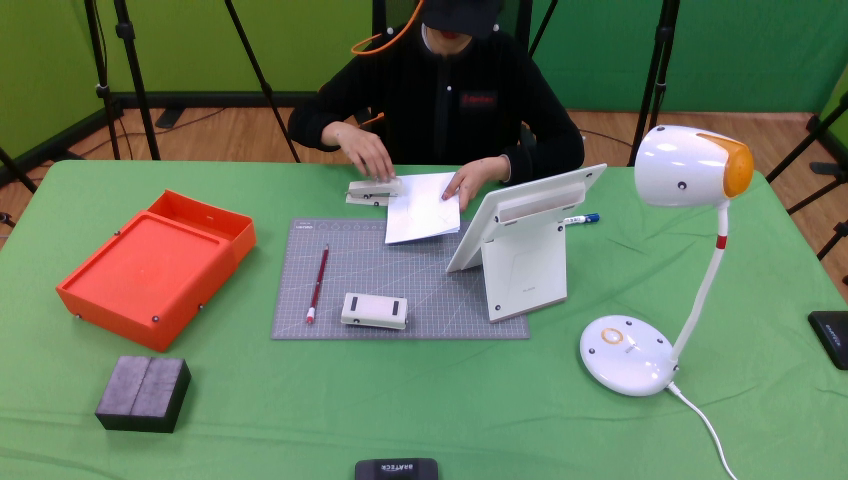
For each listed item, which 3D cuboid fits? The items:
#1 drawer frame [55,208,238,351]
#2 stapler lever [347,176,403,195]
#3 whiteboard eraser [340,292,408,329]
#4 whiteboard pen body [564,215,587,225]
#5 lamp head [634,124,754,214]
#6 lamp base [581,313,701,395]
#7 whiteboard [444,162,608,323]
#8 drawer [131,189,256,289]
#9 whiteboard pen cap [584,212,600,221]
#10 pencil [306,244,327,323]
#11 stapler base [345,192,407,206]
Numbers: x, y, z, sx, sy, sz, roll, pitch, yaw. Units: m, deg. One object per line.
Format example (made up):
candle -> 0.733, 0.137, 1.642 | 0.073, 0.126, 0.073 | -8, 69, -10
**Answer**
drawer frame -> -0.474, 0.062, 1.059 | 0.201, 0.083, 0.213 | 19, 48, 13
stapler lever -> -0.102, -0.113, 1.263 | 0.118, 0.040, 0.026 | 2, 43, 1
whiteboard eraser -> -0.087, 0.125, 1.052 | 0.113, 0.042, 0.055 | 5, 45, 1
whiteboard pen body -> 0.291, -0.040, 1.261 | 0.141, 0.017, 0.017 | -6, 47, -11
lamp head -> 0.351, -0.089, 0.775 | 0.112, 0.113, 0.122 | -30, 30, -28
lamp base -> 0.361, 0.144, 0.972 | 0.178, 0.181, 0.160 | 34, 53, 23
whiteboard -> 0.186, 0.026, 1.028 | 0.217, 0.306, 0.143 | -14, 68, -17
drawer -> -0.449, 0.018, 1.105 | 0.194, 0.073, 0.211 | 19, 48, 12
whiteboard pen cap -> 0.351, -0.048, 1.271 | 0.033, 0.018, 0.018 | -6, 47, -12
pencil -> -0.196, 0.076, 1.115 | 0.012, 0.012, 0.193 | 4, 44, 0
stapler base -> -0.101, -0.095, 1.282 | 0.130, 0.024, 0.041 | 3, 43, 1
